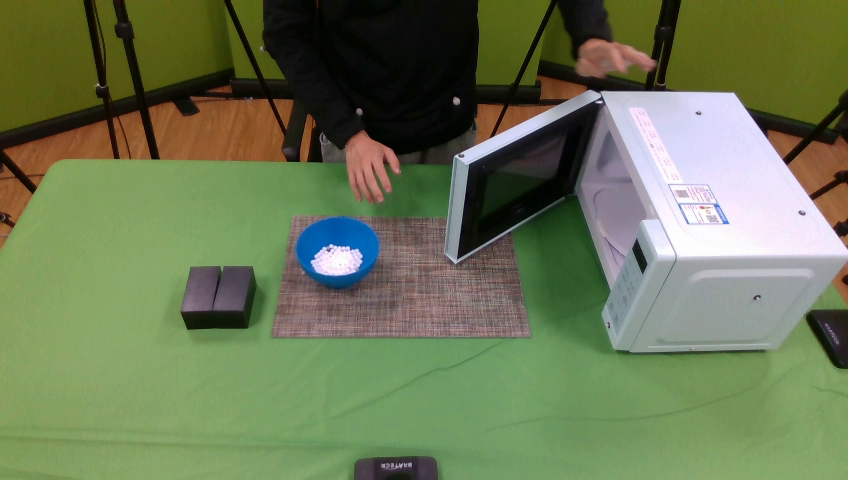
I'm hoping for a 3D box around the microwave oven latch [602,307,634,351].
[{"bbox_3d":[0.332,0.153,1.044,0.030,0.029,0.078,-1,45,-4],"label":"microwave oven latch"}]

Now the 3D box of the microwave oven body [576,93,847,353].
[{"bbox_3d":[0.475,-0.041,1.109,0.326,0.261,0.438,-1,45,-4],"label":"microwave oven body"}]

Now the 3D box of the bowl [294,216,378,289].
[{"bbox_3d":[-0.158,0.036,1.110,0.151,0.077,0.150,3,45,-2],"label":"bowl"}]

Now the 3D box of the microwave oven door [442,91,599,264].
[{"bbox_3d":[0.187,-0.123,1.160,0.356,0.245,0.039,-29,55,-28],"label":"microwave oven door"}]
